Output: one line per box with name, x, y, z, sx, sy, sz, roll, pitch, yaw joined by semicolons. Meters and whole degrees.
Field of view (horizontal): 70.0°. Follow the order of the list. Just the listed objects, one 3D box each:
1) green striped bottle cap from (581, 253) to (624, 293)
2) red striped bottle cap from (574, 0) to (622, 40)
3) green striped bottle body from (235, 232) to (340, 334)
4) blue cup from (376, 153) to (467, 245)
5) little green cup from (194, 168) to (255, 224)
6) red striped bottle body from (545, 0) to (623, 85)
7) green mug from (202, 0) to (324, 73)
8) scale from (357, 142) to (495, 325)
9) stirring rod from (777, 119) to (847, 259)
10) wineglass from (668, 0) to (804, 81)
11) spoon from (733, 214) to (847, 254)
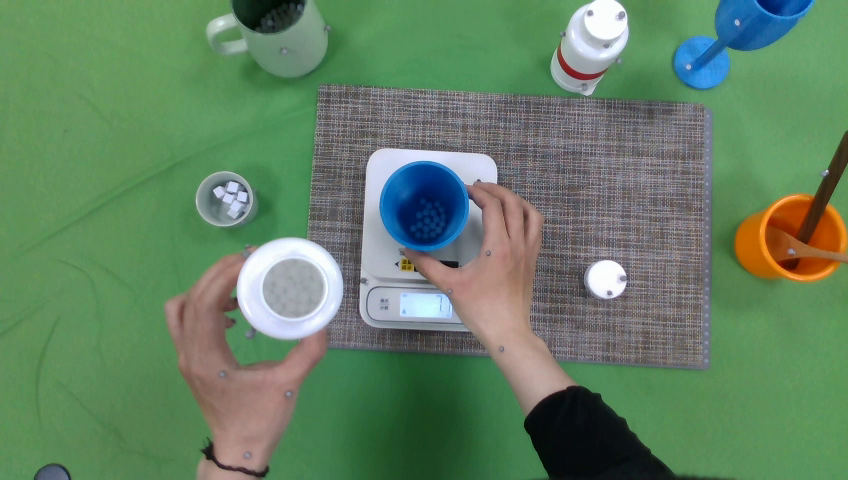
green striped bottle cap;0.200;0.036;0.678;0.044;0.020;0.044;0;81;1
red striped bottle cap;0.172;-0.222;0.598;0.044;0.018;0.044;0;82;0
green striped bottle body;-0.091;0.028;0.399;0.063;0.119;0.063;1;87;-16
blue cup;-0.002;-0.035;0.609;0.092;0.100;0.092;0;87;0
little green cup;-0.219;-0.047;0.675;0.061;0.038;0.061;0;84;-1
red striped bottle body;0.173;-0.217;0.652;0.063;0.120;0.063;0;84;0
green mug;-0.177;-0.236;0.660;0.125;0.105;0.092;-19;85;-1
scale;0.003;-0.008;0.672;0.149;0.031;0.200;2;85;0
stirring rod;0.401;-0.046;0.622;0.014;0.178;0.006;11;44;15
wineglass;0.318;-0.227;0.626;0.074;0.172;0.073;0;84;1
spoon;0.417;0.007;0.618;0.022;0.192;0.041;15;92;-42
